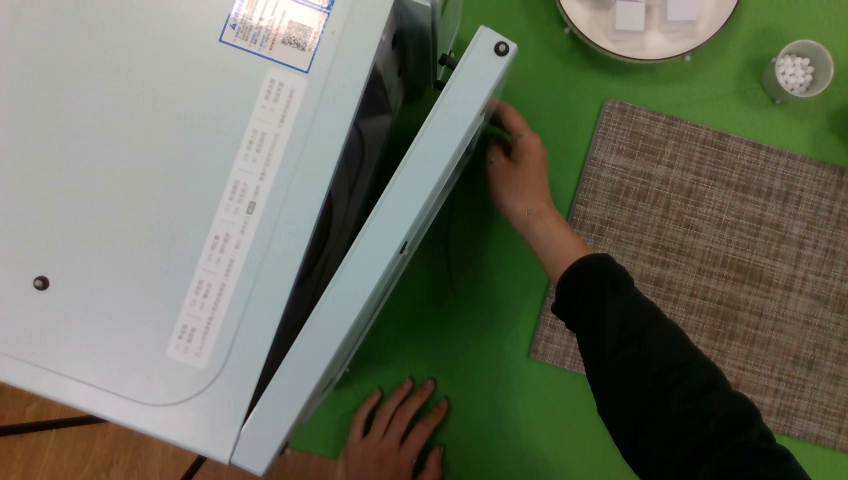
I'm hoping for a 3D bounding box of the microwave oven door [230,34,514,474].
[{"bbox_3d":[-0.038,0.011,0.540,0.039,0.244,0.355,31,90,1],"label":"microwave oven door"}]

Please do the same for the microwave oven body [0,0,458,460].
[{"bbox_3d":[-0.190,-0.093,0.546,0.326,0.260,0.441,20,91,0],"label":"microwave oven body"}]

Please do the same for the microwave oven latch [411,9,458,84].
[{"bbox_3d":[0.011,-0.208,0.641,0.030,0.029,0.079,22,91,0],"label":"microwave oven latch"}]

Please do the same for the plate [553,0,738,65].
[{"bbox_3d":[0.236,-0.291,0.658,0.208,0.039,0.207,0,90,0],"label":"plate"}]

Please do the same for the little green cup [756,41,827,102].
[{"bbox_3d":[0.395,-0.180,0.657,0.061,0.038,0.061,0,89,1],"label":"little green cup"}]

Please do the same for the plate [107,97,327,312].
[{"bbox_3d":[-0.199,-0.033,0.596,0.209,0.038,0.209,0,91,-1],"label":"plate"}]

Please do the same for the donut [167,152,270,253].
[{"bbox_3d":[-0.198,-0.035,0.584,0.099,0.048,0.099,0,90,2],"label":"donut"}]
